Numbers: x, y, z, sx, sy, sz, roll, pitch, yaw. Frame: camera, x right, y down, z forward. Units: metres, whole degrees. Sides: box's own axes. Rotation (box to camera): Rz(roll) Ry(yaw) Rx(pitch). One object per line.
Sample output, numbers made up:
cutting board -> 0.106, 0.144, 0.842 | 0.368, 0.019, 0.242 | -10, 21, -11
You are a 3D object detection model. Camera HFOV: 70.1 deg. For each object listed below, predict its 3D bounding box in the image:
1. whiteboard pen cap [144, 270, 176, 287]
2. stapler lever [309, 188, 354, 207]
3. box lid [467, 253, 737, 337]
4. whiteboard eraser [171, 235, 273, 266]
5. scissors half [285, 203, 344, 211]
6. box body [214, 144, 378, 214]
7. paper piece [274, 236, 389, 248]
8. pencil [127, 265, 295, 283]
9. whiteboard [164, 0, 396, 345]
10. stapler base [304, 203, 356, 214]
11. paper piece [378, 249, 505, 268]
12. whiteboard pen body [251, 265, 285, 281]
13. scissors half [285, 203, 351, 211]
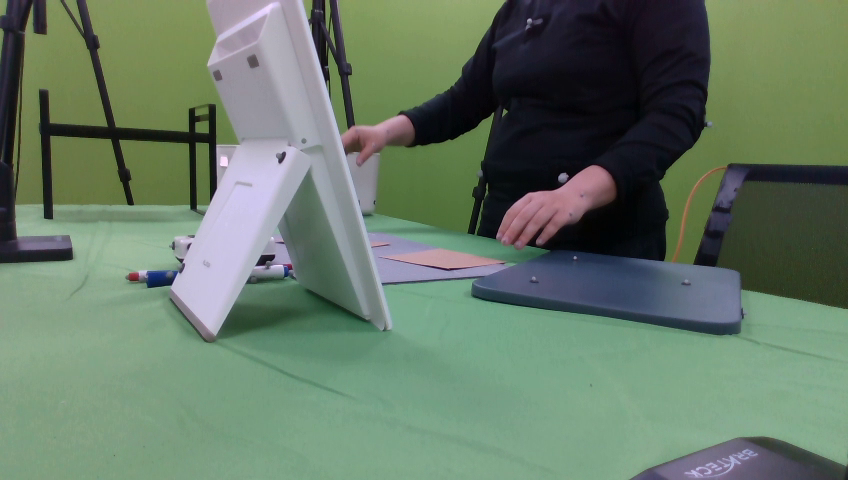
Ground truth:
whiteboard pen cap -> -0.271, 0.039, 0.627 | 0.033, 0.018, 0.018 | -3, 10, -32
stapler lever -> -0.231, -0.106, 1.509 | 0.119, 0.040, 0.026 | 3, 9, -35
box lid -> 0.234, 0.055, 0.736 | 0.262, 0.015, 0.373 | 7, 8, 26
whiteboard eraser -> -0.248, 0.014, 0.747 | 0.113, 0.042, 0.055 | -1, 10, -32
scissors half -> -0.280, -0.083, 1.552 | 0.176, 0.013, 0.040 | -10, 7, -44
box body -> -0.328, -0.154, 1.543 | 0.366, 0.160, 0.253 | -2, 9, -32
paper piece -> -0.151, 0.003, 0.978 | 0.135, 0.008, 0.139 | 13, 10, 35
pencil -> -0.231, 0.037, 0.691 | 0.195, 0.012, 0.012 | -2, 9, -34
whiteboard -> -0.173, -0.053, 0.511 | 0.144, 0.305, 0.216 | -23, 19, -26
stapler base -> -0.235, -0.081, 1.510 | 0.131, 0.024, 0.041 | 2, 9, -35
paper piece -> 0.025, 0.026, 0.865 | 0.134, 0.004, 0.136 | 9, 9, 43
whiteboard pen body -> -0.220, 0.039, 0.656 | 0.141, 0.017, 0.017 | -2, 9, -31
scissors half -> -0.269, -0.081, 1.535 | 0.176, 0.013, 0.040 | -6, 10, -23
